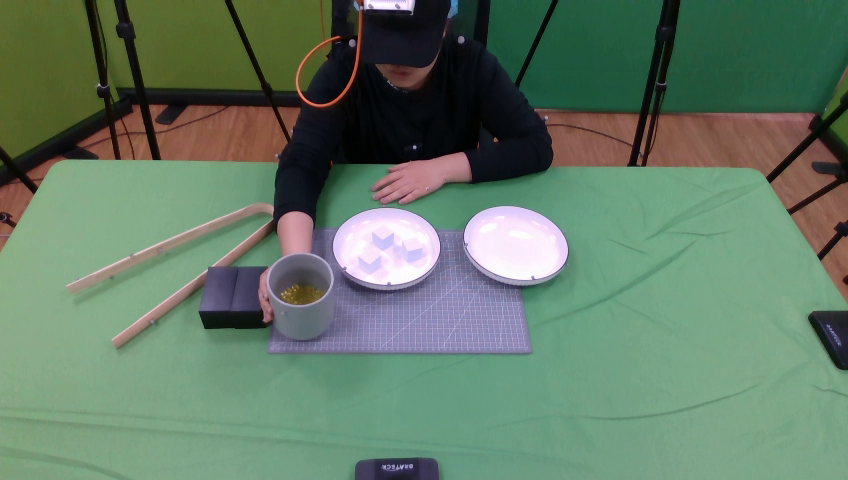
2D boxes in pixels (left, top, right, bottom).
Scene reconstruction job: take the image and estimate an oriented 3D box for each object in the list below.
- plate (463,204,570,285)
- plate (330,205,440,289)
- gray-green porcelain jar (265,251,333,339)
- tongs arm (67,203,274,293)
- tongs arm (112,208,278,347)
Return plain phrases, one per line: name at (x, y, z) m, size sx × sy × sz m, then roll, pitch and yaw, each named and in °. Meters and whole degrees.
plate at (0.178, 0.012, 1.184) m, size 0.209 × 0.038 × 0.208 m, roll 3°, pitch 46°, yaw -3°
plate at (-0.074, 0.017, 1.161) m, size 0.208 × 0.039 × 0.206 m, roll 2°, pitch 46°, yaw -2°
gray-green porcelain jar at (-0.204, 0.097, 1.006) m, size 0.106 × 0.127 × 0.105 m, roll 4°, pitch 53°, yaw -5°
tongs arm at (-0.461, 0.014, 1.142) m, size 0.385 × 0.026 × 0.050 m, roll -31°, pitch 56°, yaw -30°
tongs arm at (-0.401, 0.058, 1.108) m, size 0.028 × 0.028 × 0.387 m, roll 26°, pitch 49°, yaw 23°
